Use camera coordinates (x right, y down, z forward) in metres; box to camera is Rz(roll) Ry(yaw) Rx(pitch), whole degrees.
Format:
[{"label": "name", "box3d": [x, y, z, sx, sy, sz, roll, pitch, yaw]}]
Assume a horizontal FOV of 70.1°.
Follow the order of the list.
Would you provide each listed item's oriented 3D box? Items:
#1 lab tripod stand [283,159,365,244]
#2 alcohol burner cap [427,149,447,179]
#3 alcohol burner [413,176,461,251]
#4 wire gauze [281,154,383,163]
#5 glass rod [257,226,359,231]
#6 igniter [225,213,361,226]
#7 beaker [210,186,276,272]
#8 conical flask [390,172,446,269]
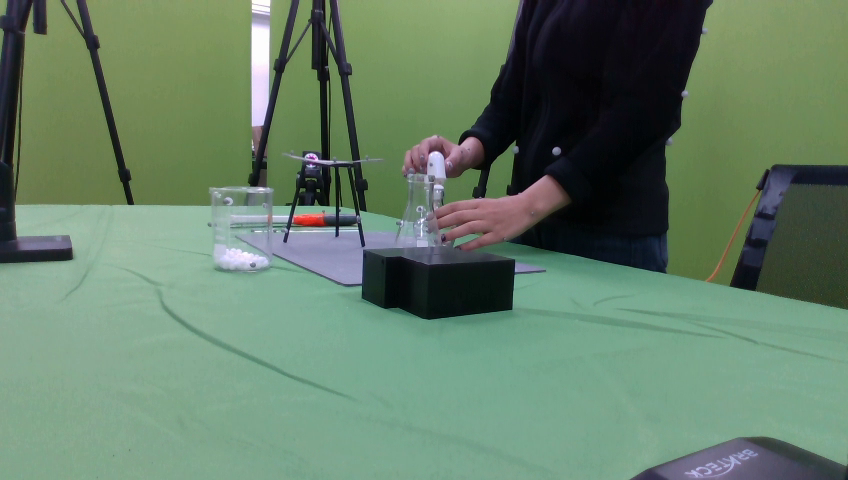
[{"label": "lab tripod stand", "box3d": [-0.151, -0.063, 0.983, 0.148, 0.131, 0.148, 4, 7, 0]}, {"label": "alcohol burner cap", "box3d": [0.019, -0.121, 0.960, 0.034, 0.048, 0.034, -4, -4, 0]}, {"label": "alcohol burner", "box3d": [0.021, -0.043, 0.958, 0.078, 0.119, 0.078, 1, 6, 0]}, {"label": "wire gauze", "box3d": [-0.146, -0.130, 0.977, 0.124, 0.011, 0.122, 9, 10, 41]}, {"label": "glass rod", "box3d": [-0.216, -0.022, 1.151, 0.201, 0.008, 0.008, -2, 8, -28]}, {"label": "igniter", "box3d": [-0.257, -0.042, 1.221, 0.278, 0.025, 0.057, -2, -2, -32]}, {"label": "beaker", "box3d": [-0.224, -0.014, 0.738, 0.084, 0.100, 0.074, 4, 7, 16]}, {"label": "conical flask", "box3d": [-0.006, -0.027, 0.790, 0.075, 0.122, 0.075, 2, 7, 0]}]
